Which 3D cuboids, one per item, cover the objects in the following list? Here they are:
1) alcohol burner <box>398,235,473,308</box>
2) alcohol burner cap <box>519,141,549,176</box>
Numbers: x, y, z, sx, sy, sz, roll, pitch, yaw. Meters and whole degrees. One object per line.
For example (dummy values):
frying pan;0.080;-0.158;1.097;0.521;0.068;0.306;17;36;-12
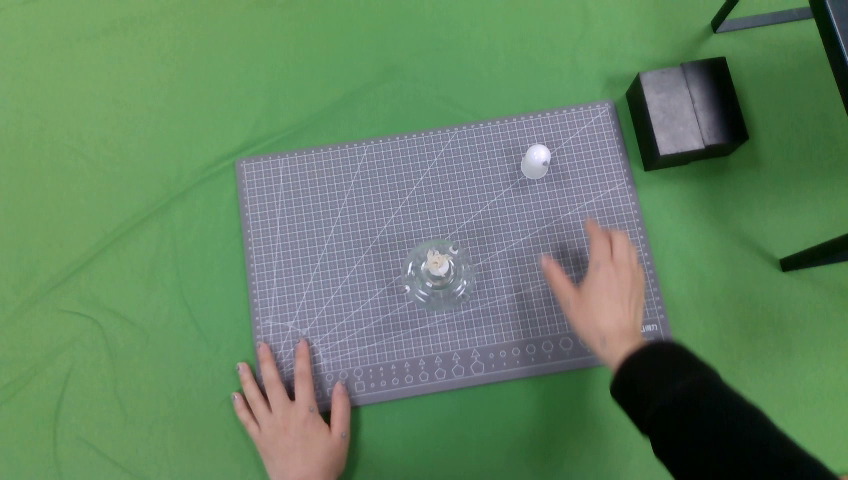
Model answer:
alcohol burner;0.011;0.030;0.619;0.078;0.119;0.077;0;79;2
alcohol burner cap;0.126;-0.094;0.681;0.034;0.048;0.033;0;78;2
